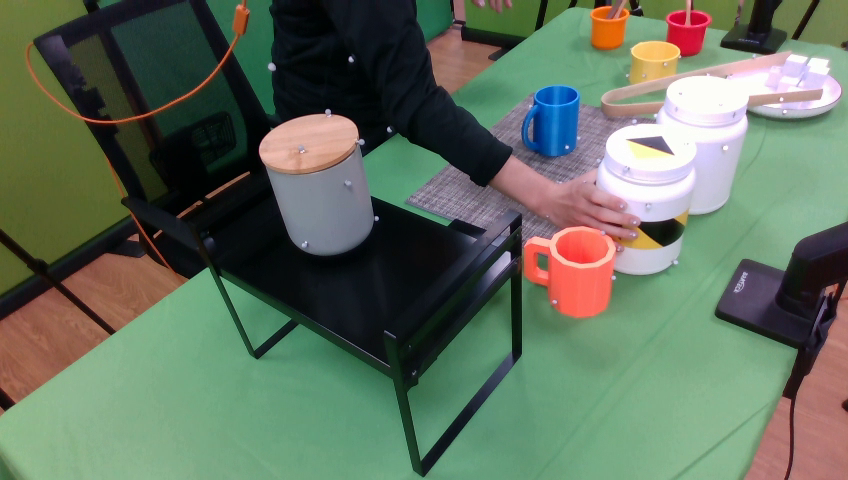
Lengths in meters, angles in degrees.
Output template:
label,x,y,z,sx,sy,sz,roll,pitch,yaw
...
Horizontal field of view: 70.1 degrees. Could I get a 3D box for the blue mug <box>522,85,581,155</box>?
label,x,y,z,sx,sy,sz,roll,pitch,yaw
blue mug,0.233,-0.218,1.127,0.117,0.106,0.081,-23,43,-16

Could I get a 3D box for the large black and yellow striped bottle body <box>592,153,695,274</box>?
label,x,y,z,sx,sy,sz,roll,pitch,yaw
large black and yellow striped bottle body,0.313,-0.056,0.872,0.131,0.185,0.130,-4,41,4

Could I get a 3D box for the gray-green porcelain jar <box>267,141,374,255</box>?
label,x,y,z,sx,sy,sz,roll,pitch,yaw
gray-green porcelain jar,-0.117,-0.054,0.703,0.106,0.127,0.105,-4,40,4

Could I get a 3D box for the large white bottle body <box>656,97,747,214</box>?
label,x,y,z,sx,sy,sz,roll,pitch,yaw
large white bottle body,0.431,-0.148,0.959,0.130,0.185,0.130,-4,41,4

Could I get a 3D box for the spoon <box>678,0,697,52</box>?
label,x,y,z,sx,sy,sz,roll,pitch,yaw
spoon,0.614,-0.526,1.402,0.041,0.022,0.193,3,86,11

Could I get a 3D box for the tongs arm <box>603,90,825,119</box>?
label,x,y,z,sx,sy,sz,roll,pitch,yaw
tongs arm,0.546,-0.261,1.163,0.386,0.028,0.028,-1,50,18

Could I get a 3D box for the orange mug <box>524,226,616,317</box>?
label,x,y,z,sx,sy,sz,roll,pitch,yaw
orange mug,0.201,0.039,0.845,0.125,0.101,0.083,18,46,21

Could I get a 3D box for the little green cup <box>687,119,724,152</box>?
label,x,y,z,sx,sy,sz,roll,pitch,yaw
little green cup,0.513,-0.191,1.109,0.061,0.039,0.061,-5,40,5

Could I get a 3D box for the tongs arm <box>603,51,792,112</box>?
label,x,y,z,sx,sy,sz,roll,pitch,yaw
tongs arm,0.552,-0.320,1.224,0.384,0.027,0.050,-11,44,7

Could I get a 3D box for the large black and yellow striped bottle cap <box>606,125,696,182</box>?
label,x,y,z,sx,sy,sz,roll,pitch,yaw
large black and yellow striped bottle cap,0.305,-0.119,0.816,0.115,0.019,0.114,-5,41,5

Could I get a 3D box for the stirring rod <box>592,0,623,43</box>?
label,x,y,z,sx,sy,sz,roll,pitch,yaw
stirring rod,0.460,-0.557,1.461,0.014,0.176,0.006,35,11,22

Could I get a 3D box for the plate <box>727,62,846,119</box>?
label,x,y,z,sx,sy,sz,roll,pitch,yaw
plate,0.709,-0.292,1.198,0.207,0.039,0.206,-4,40,4

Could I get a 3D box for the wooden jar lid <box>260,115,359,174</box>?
label,x,y,z,sx,sy,sz,roll,pitch,yaw
wooden jar lid,-0.124,-0.101,0.662,0.108,0.021,0.108,-4,41,4

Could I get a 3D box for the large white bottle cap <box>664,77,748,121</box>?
label,x,y,z,sx,sy,sz,roll,pitch,yaw
large white bottle cap,0.421,-0.212,0.905,0.115,0.018,0.114,-4,40,4

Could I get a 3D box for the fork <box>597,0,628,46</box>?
label,x,y,z,sx,sy,sz,roll,pitch,yaw
fork,0.479,-0.558,1.455,0.028,0.019,0.207,35,100,38

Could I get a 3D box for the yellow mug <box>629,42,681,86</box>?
label,x,y,z,sx,sy,sz,roll,pitch,yaw
yellow mug,0.495,-0.389,1.321,0.100,0.064,0.130,-14,40,-6
